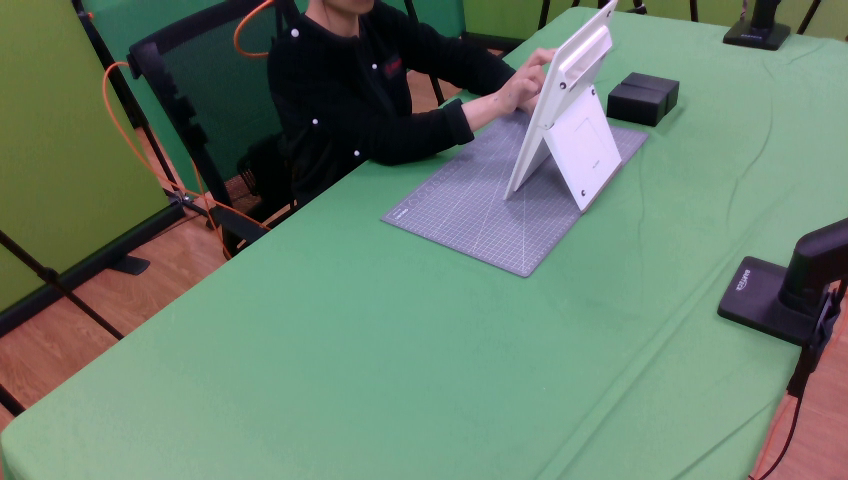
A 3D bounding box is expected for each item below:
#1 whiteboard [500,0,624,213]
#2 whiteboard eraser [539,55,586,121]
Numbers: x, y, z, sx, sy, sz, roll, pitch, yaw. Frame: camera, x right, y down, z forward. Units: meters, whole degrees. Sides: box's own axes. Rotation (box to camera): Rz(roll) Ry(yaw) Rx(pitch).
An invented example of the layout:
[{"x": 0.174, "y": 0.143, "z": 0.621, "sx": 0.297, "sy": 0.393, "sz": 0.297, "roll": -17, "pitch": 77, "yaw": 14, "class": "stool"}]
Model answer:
[{"x": 0.271, "y": -0.189, "z": 0.978, "sx": 0.143, "sy": 0.306, "sz": 0.218, "roll": 34, "pitch": 54, "yaw": 16, "class": "whiteboard"}, {"x": 0.245, "y": -0.265, "z": 1.066, "sx": 0.041, "sy": 0.112, "sz": 0.056, "roll": 32, "pitch": 43, "yaw": 12, "class": "whiteboard eraser"}]
